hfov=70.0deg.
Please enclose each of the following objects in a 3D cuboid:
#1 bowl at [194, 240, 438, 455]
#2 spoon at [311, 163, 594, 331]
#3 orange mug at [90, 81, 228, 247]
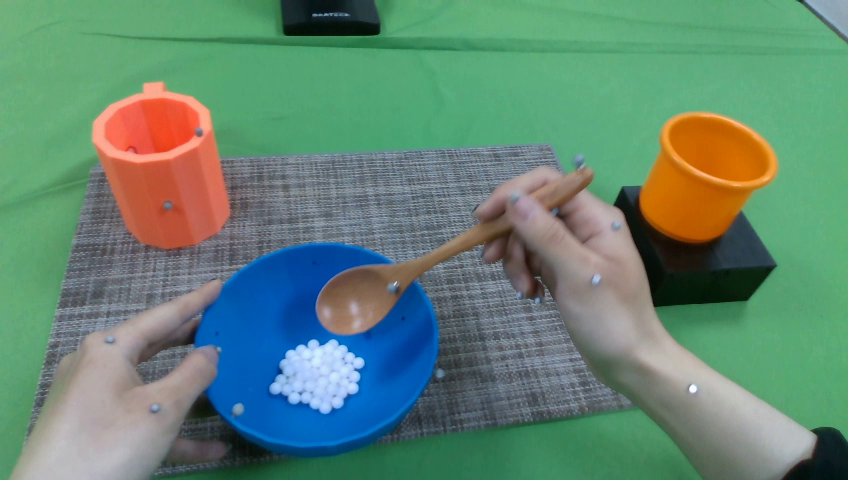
[{"bbox_3d":[-0.069,0.081,0.408,0.151,0.077,0.150,4,49,-4],"label":"bowl"},{"bbox_3d":[0.012,0.006,0.360,0.041,0.193,0.021,62,23,-2],"label":"spoon"},{"bbox_3d":[-0.218,-0.071,0.507,0.084,0.101,0.125,-10,56,-16],"label":"orange mug"}]
